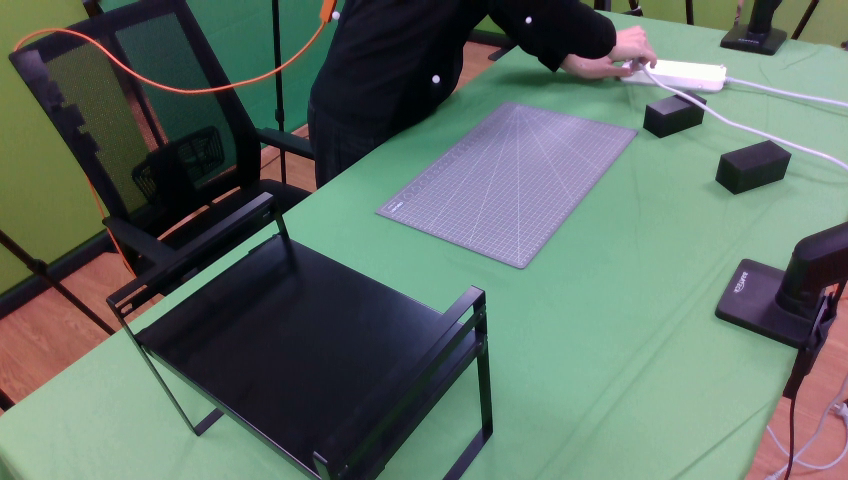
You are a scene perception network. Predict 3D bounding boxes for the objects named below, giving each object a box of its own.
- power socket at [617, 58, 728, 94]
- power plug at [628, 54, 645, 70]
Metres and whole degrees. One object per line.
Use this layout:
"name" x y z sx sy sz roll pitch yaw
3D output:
"power socket" 0.532 -0.355 1.302 0.225 0.033 0.072 15 46 24
"power plug" 0.450 -0.371 1.299 0.035 0.053 0.073 24 48 33
